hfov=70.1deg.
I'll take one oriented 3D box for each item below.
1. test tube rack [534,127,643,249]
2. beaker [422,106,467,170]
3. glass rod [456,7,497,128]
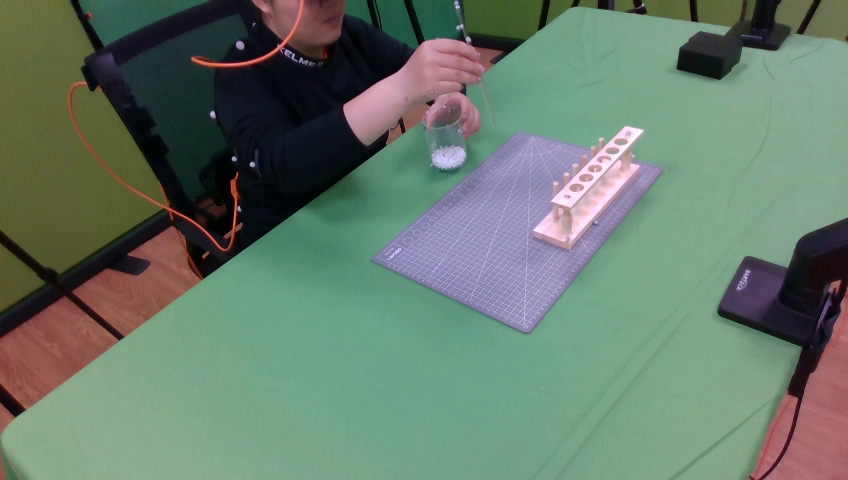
[{"bbox_3d":[0.272,-0.094,0.990,0.066,0.085,0.243,24,50,33],"label":"test tube rack"},{"bbox_3d":[0.042,-0.188,1.120,0.073,0.101,0.084,8,46,21],"label":"beaker"},{"bbox_3d":[0.080,-0.253,0.909,0.008,0.201,0.008,-15,36,12],"label":"glass rod"}]
